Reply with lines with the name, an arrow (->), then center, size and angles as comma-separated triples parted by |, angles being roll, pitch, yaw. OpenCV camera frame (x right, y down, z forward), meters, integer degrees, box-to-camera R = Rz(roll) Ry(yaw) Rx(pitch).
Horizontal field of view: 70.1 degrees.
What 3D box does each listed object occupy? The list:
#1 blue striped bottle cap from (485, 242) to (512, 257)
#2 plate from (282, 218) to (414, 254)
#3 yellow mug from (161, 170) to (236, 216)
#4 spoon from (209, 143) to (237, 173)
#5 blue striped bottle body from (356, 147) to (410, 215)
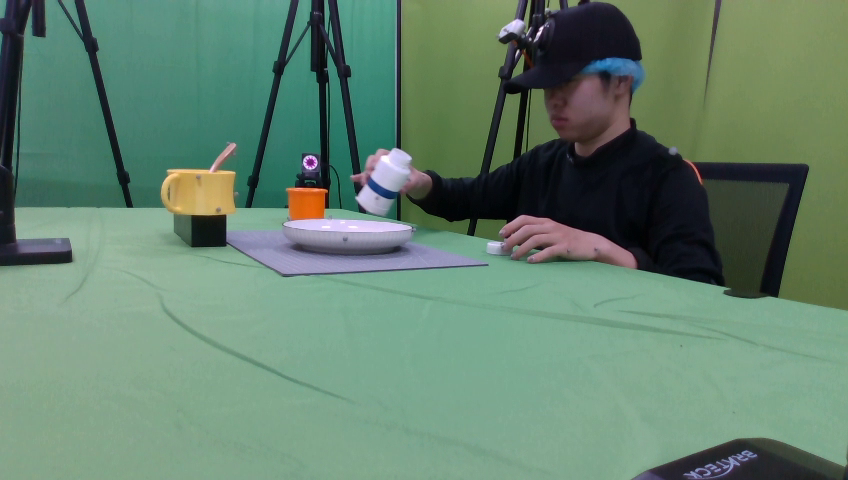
blue striped bottle cap -> 0.124, 0.015, 1.000 | 0.044, 0.020, 0.044 | 4, 8, 0
plate -> -0.121, -0.007, 0.971 | 0.208, 0.039, 0.207 | 2, 7, 0
yellow mug -> -0.354, -0.074, 0.935 | 0.099, 0.064, 0.131 | 5, 9, 21
spoon -> -0.341, -0.113, 0.990 | 0.041, 0.021, 0.193 | 1, 39, 7
blue striped bottle body -> -0.072, -0.111, 1.120 | 0.063, 0.120, 0.063 | 28, 21, -12
